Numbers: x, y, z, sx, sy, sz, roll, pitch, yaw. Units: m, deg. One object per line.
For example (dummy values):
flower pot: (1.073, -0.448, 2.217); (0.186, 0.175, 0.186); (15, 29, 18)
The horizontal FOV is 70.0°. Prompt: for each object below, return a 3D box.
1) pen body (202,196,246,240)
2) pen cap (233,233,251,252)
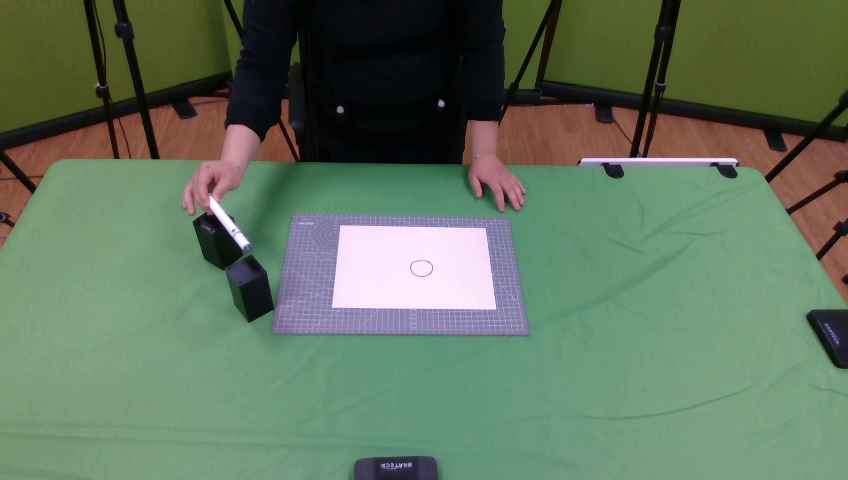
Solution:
pen body: (-0.340, -0.035, 1.038); (0.017, 0.017, 0.143); (-31, 52, -29)
pen cap: (-0.301, 0.004, 1.004); (0.017, 0.017, 0.038); (-29, 54, -28)
